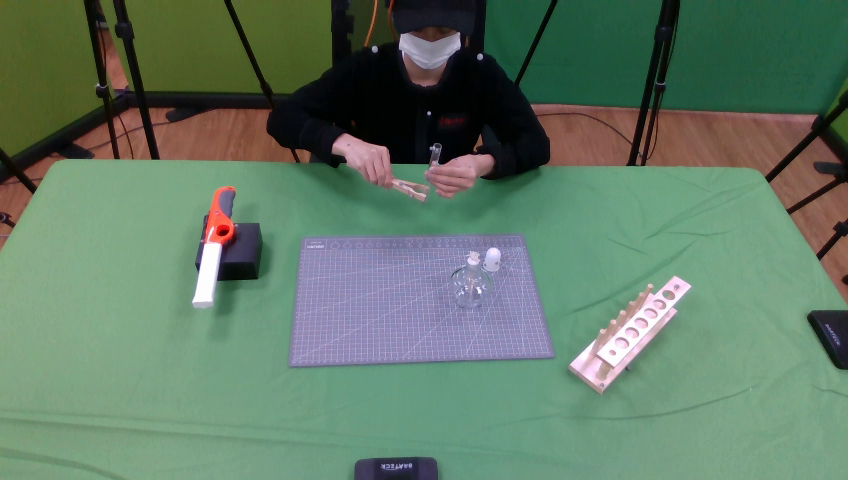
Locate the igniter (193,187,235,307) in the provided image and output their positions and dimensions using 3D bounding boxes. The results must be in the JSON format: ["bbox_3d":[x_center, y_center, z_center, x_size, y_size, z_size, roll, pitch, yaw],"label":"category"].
[{"bbox_3d":[-0.379,0.003,1.096,0.057,0.025,0.274,-1,49,-6],"label":"igniter"}]

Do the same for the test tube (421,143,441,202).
[{"bbox_3d":[0.011,-0.124,1.147,0.017,0.151,0.017,6,51,-7],"label":"test tube"}]

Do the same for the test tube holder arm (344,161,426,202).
[{"bbox_3d":[-0.078,-0.117,1.198,0.178,0.015,0.013,23,43,9],"label":"test tube holder arm"}]

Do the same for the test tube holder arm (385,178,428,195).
[{"bbox_3d":[-0.035,-0.106,1.198,0.088,0.015,0.010,11,44,-4],"label":"test tube holder arm"}]

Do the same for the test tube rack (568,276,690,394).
[{"bbox_3d":[0.353,0.149,1.039,0.242,0.085,0.066,-34,56,-31],"label":"test tube rack"}]

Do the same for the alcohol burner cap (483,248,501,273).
[{"bbox_3d":[0.130,0.037,1.156,0.034,0.048,0.033,2,45,-1],"label":"alcohol burner cap"}]

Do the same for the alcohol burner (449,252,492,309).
[{"bbox_3d":[0.083,0.066,1.073,0.078,0.120,0.077,1,44,-1],"label":"alcohol burner"}]
